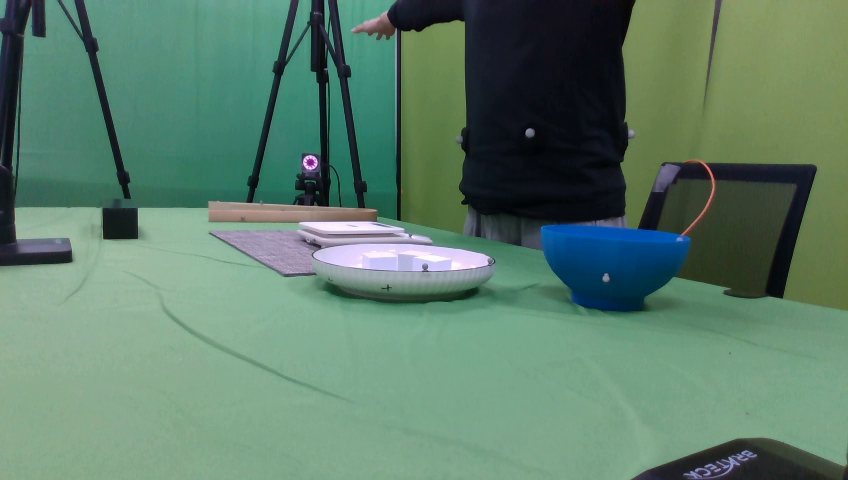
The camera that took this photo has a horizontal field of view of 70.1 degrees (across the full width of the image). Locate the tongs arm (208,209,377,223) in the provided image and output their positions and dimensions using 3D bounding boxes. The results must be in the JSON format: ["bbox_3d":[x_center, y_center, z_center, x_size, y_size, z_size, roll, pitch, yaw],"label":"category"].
[{"bbox_3d":[-0.280,-0.054,1.355,0.389,0.028,0.028,-2,7,-28],"label":"tongs arm"}]

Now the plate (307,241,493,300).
[{"bbox_3d":[-0.027,0.034,0.684,0.208,0.039,0.207,2,7,0],"label":"plate"}]

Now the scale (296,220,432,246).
[{"bbox_3d":[-0.101,-0.012,1.017,0.202,0.031,0.148,-1,8,-30],"label":"scale"}]

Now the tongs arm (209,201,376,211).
[{"bbox_3d":[-0.306,-0.070,1.430,0.386,0.026,0.050,1,9,-15],"label":"tongs arm"}]

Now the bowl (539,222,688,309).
[{"bbox_3d":[0.196,0.027,0.641,0.151,0.077,0.151,3,7,0],"label":"bowl"}]
